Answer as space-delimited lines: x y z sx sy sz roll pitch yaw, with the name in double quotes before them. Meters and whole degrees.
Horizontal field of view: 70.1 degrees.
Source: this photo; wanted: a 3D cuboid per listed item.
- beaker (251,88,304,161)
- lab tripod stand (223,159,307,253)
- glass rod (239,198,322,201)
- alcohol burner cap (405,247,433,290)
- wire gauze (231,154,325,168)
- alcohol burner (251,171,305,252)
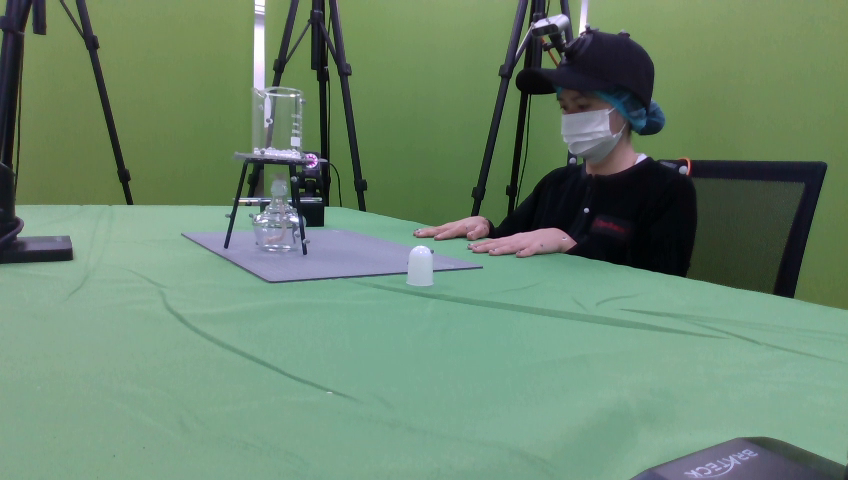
"beaker" -0.214 -0.165 0.874 0.074 0.100 0.084 4 6 15
"lab tripod stand" -0.220 -0.053 0.896 0.148 0.131 0.148 1 6 0
"glass rod" -0.293 -0.082 1.232 0.201 0.008 0.008 -4 10 -45
"alcohol burner cap" -0.005 0.031 0.698 0.034 0.048 0.034 3 8 0
"wire gauze" -0.215 -0.117 0.882 0.125 0.011 0.121 3 7 -19
"alcohol burner" -0.214 -0.042 0.888 0.078 0.119 0.078 2 9 0
